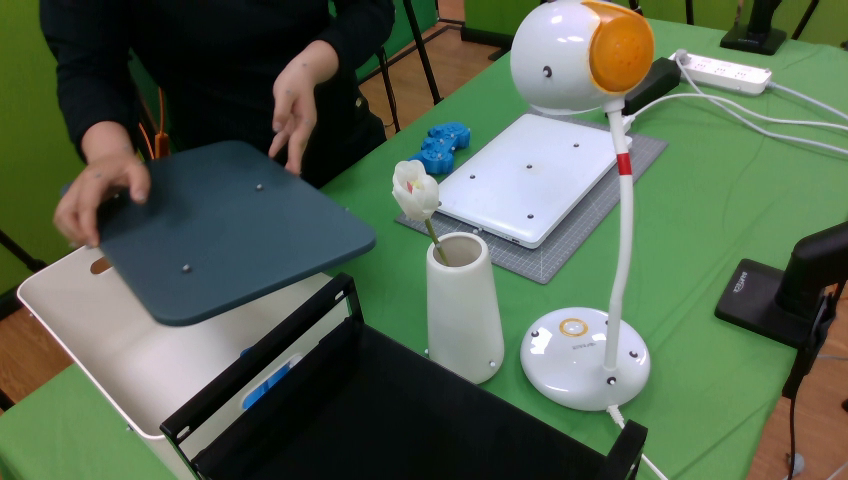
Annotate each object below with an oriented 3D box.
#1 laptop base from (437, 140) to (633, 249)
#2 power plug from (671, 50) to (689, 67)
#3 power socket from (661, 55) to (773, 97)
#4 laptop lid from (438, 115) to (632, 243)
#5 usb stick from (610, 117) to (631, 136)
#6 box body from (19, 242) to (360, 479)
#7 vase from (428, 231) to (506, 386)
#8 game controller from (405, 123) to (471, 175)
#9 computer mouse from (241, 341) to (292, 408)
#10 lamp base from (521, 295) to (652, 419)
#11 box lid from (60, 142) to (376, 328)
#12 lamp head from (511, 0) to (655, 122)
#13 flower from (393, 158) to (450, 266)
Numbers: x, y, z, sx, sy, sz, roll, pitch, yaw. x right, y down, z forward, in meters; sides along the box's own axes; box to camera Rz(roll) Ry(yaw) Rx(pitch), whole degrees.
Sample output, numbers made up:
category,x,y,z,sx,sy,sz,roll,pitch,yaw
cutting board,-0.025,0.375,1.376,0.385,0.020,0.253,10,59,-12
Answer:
category,x,y,z,sx,sy,sz,roll,pitch,yaw
laptop base,0.193,-0.117,1.087,0.233,0.023,0.355,20,47,35
power plug,0.540,-0.379,1.302,0.073,0.053,0.035,-31,46,-23
power socket,0.619,-0.353,1.289,0.225,0.033,0.072,26,51,33
laptop lid,0.189,-0.126,1.081,0.239,0.013,0.358,23,48,35
usb stick,0.369,-0.208,1.147,0.021,0.027,0.059,26,56,33
box body,-0.288,0.118,0.772,0.361,0.161,0.255,26,50,33
vase,0.050,0.086,0.728,0.098,0.201,0.097,-3,40,3
game controller,0.028,-0.182,1.169,0.096,0.052,0.155,16,46,18
computer mouse,-0.201,0.177,0.776,0.063,0.041,0.116,-11,44,-8
lamp base,0.201,0.095,0.710,0.161,0.181,0.178,-16,43,-10
box lid,-0.261,-0.030,0.749,0.265,0.015,0.368,-24,41,-36
lamp head,0.155,-0.168,0.563,0.113,0.113,0.122,-18,23,-12
flower,0.028,0.036,0.664,0.043,0.364,0.038,36,73,29
